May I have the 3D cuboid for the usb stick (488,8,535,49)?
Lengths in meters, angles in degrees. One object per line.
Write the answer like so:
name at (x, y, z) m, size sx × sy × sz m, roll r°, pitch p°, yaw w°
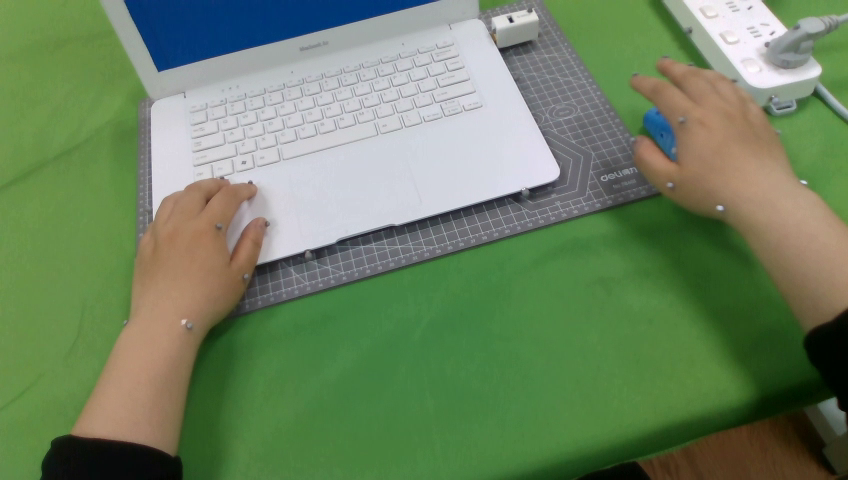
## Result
usb stick at (0.082, -0.215, 0.620) m, size 0.059 × 0.027 × 0.021 m, roll -17°, pitch 56°, yaw 0°

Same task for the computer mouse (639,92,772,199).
computer mouse at (0.238, -0.088, 0.517) m, size 0.063 × 0.041 × 0.116 m, roll -20°, pitch 51°, yaw -3°

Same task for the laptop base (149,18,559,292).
laptop base at (-0.080, -0.092, 0.573) m, size 0.354 × 0.023 × 0.233 m, roll -16°, pitch 58°, yaw -4°

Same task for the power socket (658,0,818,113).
power socket at (0.298, -0.213, 0.598) m, size 0.072 × 0.033 × 0.224 m, roll -13°, pitch 55°, yaw -1°

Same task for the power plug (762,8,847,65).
power plug at (0.341, -0.173, 0.540) m, size 0.072 × 0.053 × 0.035 m, roll -4°, pitch 57°, yaw 4°

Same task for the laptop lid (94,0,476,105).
laptop lid at (-0.132, -0.269, 0.559) m, size 0.357 × 0.244 × 0.013 m, roll -18°, pitch 42°, yaw -3°
